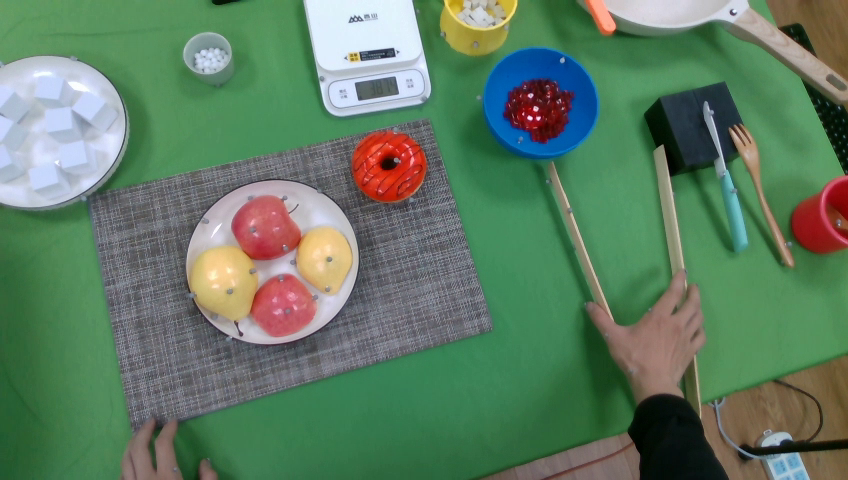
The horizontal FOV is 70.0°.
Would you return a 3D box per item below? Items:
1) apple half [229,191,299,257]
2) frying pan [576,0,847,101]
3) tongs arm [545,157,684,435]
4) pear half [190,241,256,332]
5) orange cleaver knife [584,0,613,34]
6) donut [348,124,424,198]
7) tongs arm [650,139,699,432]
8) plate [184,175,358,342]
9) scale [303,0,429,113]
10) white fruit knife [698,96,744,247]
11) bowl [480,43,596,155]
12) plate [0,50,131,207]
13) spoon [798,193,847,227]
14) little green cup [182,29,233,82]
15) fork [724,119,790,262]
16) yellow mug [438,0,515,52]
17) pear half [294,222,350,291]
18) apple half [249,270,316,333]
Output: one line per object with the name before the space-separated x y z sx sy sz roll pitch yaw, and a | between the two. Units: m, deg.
apple half | -0.199 -0.022 0.741 0.075 0.053 0.080 -27 84 -7
frying pan | 0.390 -0.355 0.854 0.306 0.103 0.485 -42 76 -11
tongs arm | 0.242 0.066 0.784 0.051 0.026 0.383 -15 80 -13
pear half | -0.233 0.055 0.717 0.076 0.056 0.109 -20 83 -18
orange cleaver knife | 0.216 -0.379 0.825 0.077 0.012 0.210 -25 81 -12
donut | -0.050 -0.103 0.787 0.099 0.048 0.098 0 79 -2
tongs arm | 0.325 0.052 0.799 0.028 0.028 0.385 0 78 -13
plate | -0.185 0.023 0.750 0.209 0.038 0.208 1 77 -5
scale | -0.081 -0.280 0.834 0.149 0.031 0.200 -11 79 -7
white fruit knife | 0.394 -0.090 0.808 0.016 0.027 0.207 -17 94 -8
bowl | 0.143 -0.175 0.806 0.151 0.077 0.150 1 78 -5
plate | -0.475 -0.138 0.766 0.208 0.039 0.206 1 77 -5
spoon | 0.560 -0.008 0.770 0.041 0.022 0.191 -20 35 -9
little green cup | -0.284 -0.243 0.805 0.061 0.039 0.061 1 77 -4
fork | 0.451 -0.065 0.815 0.028 0.018 0.207 -24 96 -12
yellow mug | 0.059 -0.333 0.840 0.130 0.064 0.100 41 78 6
pear half | -0.129 0.019 0.749 0.070 0.031 0.087 -16 76 6
apple half | -0.175 0.072 0.731 0.081 0.033 0.081 1 70 -2
